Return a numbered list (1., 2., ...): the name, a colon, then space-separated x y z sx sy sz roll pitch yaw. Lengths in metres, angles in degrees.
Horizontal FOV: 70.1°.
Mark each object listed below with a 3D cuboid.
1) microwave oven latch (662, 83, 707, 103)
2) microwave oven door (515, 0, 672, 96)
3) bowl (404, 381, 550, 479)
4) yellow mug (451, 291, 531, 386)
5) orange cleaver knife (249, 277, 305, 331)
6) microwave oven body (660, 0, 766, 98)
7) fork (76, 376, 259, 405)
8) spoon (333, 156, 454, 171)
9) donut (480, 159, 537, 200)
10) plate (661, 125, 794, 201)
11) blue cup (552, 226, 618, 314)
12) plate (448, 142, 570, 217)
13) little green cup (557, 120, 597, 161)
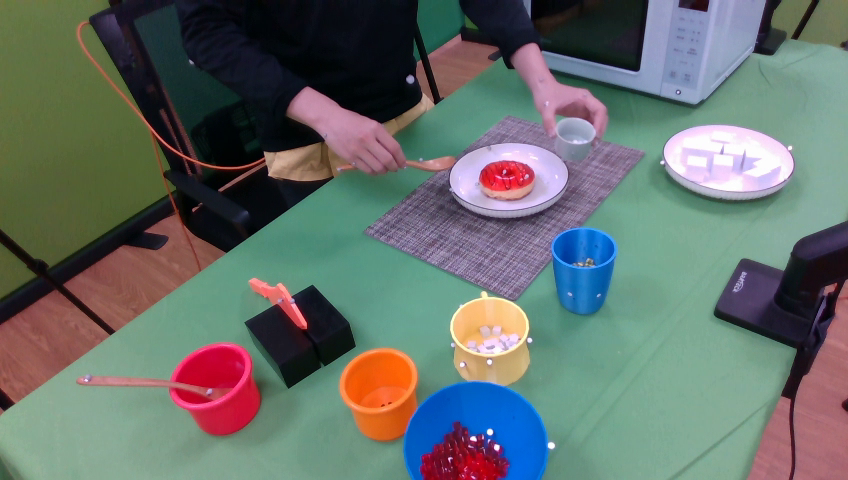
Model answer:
1. microwave oven latch: 0.517 -0.296 1.204 0.078 0.029 0.030 27 52 35
2. microwave oven door: 0.344 -0.455 1.260 0.353 0.245 0.039 26 51 33
3. bowl: 0.058 0.235 0.645 0.151 0.077 0.150 -4 39 4
4. yellow mug: 0.085 0.120 0.786 0.100 0.064 0.130 -7 39 1
5. orange cleaver knife: -0.210 0.088 0.856 0.012 0.077 0.210 -28 15 -25
6. microwave oven body: 0.473 -0.513 1.317 0.438 0.261 0.327 26 51 34
7. fork: -0.295 0.176 0.716 0.209 0.018 0.028 19 26 -36
8. spoon: -0.046 -0.120 0.955 0.195 0.021 0.041 -2 31 -17
9. donut: 0.145 -0.106 1.042 0.099 0.048 0.098 -4 38 4
10. plate: 0.514 -0.128 1.035 0.207 0.039 0.206 -4 40 4
11. blue cup: 0.218 0.047 0.826 0.092 0.101 0.092 -6 40 5
12. plate: 0.148 -0.101 1.053 0.209 0.038 0.208 -4 40 4
13. little green cup: 0.238 -0.155 0.952 0.061 0.039 0.061 1 50 -1
